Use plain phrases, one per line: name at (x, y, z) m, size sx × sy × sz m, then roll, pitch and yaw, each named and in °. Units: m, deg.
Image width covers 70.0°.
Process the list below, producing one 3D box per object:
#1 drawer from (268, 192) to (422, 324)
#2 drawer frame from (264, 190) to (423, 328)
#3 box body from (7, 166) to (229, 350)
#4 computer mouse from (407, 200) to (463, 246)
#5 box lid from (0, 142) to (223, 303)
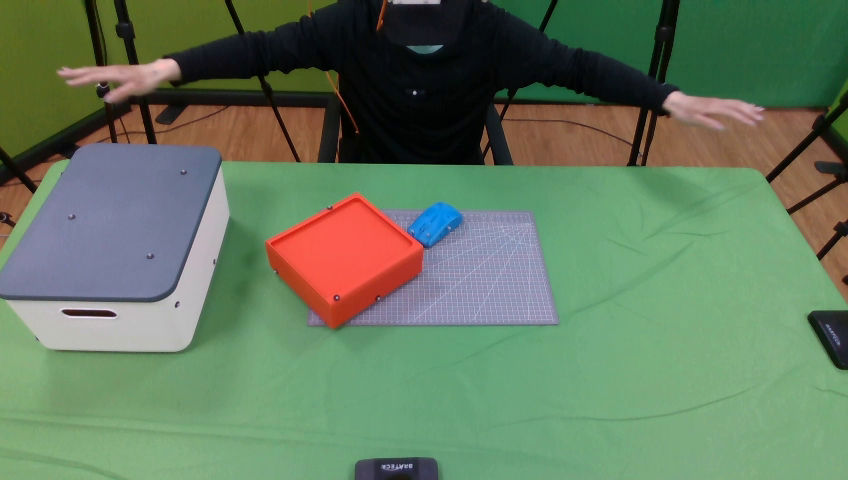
drawer at (-0.143, 0.028, 1.116) m, size 0.212 × 0.073 × 0.193 m, roll -33°, pitch 57°, yaw -29°
drawer frame at (-0.144, 0.028, 1.114) m, size 0.213 × 0.083 × 0.200 m, roll -34°, pitch 57°, yaw -29°
box body at (-0.502, 0.008, 1.054) m, size 0.254 × 0.161 × 0.361 m, roll 1°, pitch 46°, yaw -3°
computer mouse at (0.022, -0.037, 1.220) m, size 0.062 × 0.041 × 0.117 m, roll 37°, pitch 59°, yaw 25°
box lid at (-0.499, -0.045, 1.002) m, size 0.263 × 0.015 × 0.369 m, roll 2°, pitch 46°, yaw -3°
